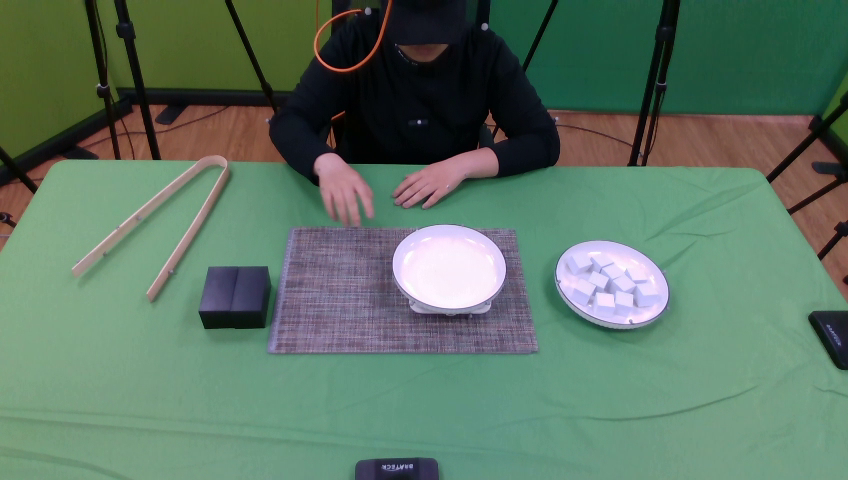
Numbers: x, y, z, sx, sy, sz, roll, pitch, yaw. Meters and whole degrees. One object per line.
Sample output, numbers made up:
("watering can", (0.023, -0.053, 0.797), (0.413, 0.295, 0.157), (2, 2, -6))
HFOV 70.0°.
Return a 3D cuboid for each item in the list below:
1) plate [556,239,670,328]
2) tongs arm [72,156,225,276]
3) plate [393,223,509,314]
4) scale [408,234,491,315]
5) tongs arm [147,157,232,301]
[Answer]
("plate", (0.347, 0.083, 1.130), (0.209, 0.038, 0.208), (2, 47, -2))
("tongs arm", (-0.531, -0.057, 1.204), (0.050, 0.026, 0.383), (19, 47, 13))
("plate", (0.048, 0.053, 1.091), (0.208, 0.039, 0.206), (1, 46, -1))
("scale", (0.045, 0.055, 1.135), (0.149, 0.032, 0.199), (1, 46, -3))
("tongs arm", (-0.453, -0.035, 1.193), (0.028, 0.028, 0.385), (7, 46, 6))
